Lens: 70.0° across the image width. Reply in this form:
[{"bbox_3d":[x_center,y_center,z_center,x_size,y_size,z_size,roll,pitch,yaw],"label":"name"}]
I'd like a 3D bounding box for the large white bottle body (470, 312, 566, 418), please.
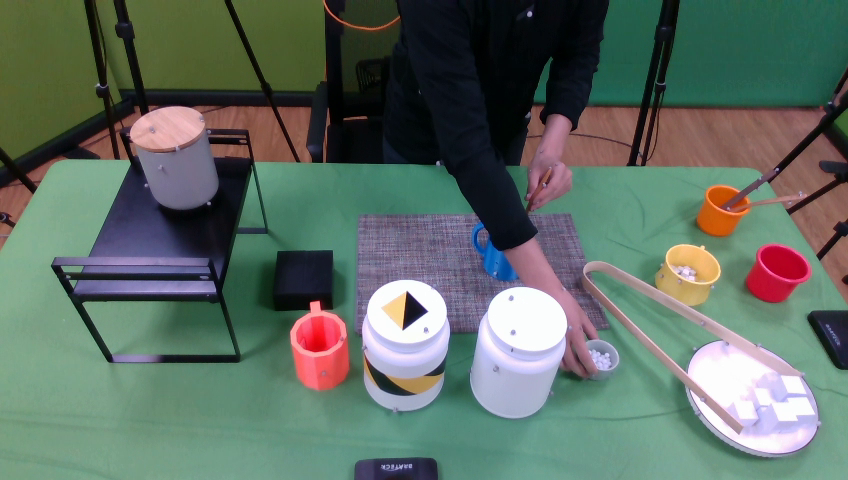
[{"bbox_3d":[0.143,0.173,0.930,0.131,0.185,0.130,2,46,-2],"label":"large white bottle body"}]

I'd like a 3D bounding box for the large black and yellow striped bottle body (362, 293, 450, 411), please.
[{"bbox_3d":[-0.029,0.163,0.928,0.131,0.185,0.130,2,47,-2],"label":"large black and yellow striped bottle body"}]

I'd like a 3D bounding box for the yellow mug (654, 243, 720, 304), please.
[{"bbox_3d":[0.504,0.054,1.154,0.099,0.064,0.130,28,50,22],"label":"yellow mug"}]

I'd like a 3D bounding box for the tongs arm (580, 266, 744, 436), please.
[{"bbox_3d":[0.384,0.174,1.029,0.028,0.028,0.385,-26,46,-14],"label":"tongs arm"}]

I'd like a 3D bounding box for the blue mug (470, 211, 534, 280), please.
[{"bbox_3d":[0.142,0.005,1.140,0.116,0.106,0.082,20,48,14],"label":"blue mug"}]

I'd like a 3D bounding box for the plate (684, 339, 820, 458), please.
[{"bbox_3d":[0.523,0.256,0.982,0.208,0.039,0.206,2,46,-2],"label":"plate"}]

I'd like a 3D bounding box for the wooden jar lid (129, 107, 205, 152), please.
[{"bbox_3d":[-0.385,-0.163,0.915,0.108,0.021,0.107,2,47,-2],"label":"wooden jar lid"}]

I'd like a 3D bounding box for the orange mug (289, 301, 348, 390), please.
[{"bbox_3d":[-0.170,0.162,0.976,0.083,0.101,0.125,-7,52,-11],"label":"orange mug"}]

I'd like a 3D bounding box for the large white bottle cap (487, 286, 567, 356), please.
[{"bbox_3d":[0.147,0.114,0.869,0.115,0.018,0.114,3,46,-3],"label":"large white bottle cap"}]

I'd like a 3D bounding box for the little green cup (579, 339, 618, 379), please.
[{"bbox_3d":[0.289,0.201,1.014,0.061,0.039,0.061,4,44,-4],"label":"little green cup"}]

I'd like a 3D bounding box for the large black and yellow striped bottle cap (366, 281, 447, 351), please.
[{"bbox_3d":[-0.025,0.106,0.865,0.115,0.019,0.114,2,46,-1],"label":"large black and yellow striped bottle cap"}]

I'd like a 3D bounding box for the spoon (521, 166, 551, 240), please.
[{"bbox_3d":[0.194,-0.048,1.104,0.021,0.194,0.041,28,34,26],"label":"spoon"}]

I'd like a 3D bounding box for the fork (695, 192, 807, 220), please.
[{"bbox_3d":[0.655,-0.069,1.224,0.207,0.019,0.028,-17,33,45],"label":"fork"}]

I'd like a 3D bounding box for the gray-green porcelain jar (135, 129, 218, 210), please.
[{"bbox_3d":[-0.388,-0.120,0.960,0.106,0.127,0.105,2,46,-2],"label":"gray-green porcelain jar"}]

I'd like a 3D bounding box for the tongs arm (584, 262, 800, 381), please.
[{"bbox_3d":[0.452,0.137,1.064,0.051,0.027,0.382,-34,50,-26],"label":"tongs arm"}]

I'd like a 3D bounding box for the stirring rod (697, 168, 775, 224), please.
[{"bbox_3d":[0.644,-0.090,1.252,0.176,0.006,0.014,-40,54,16],"label":"stirring rod"}]
